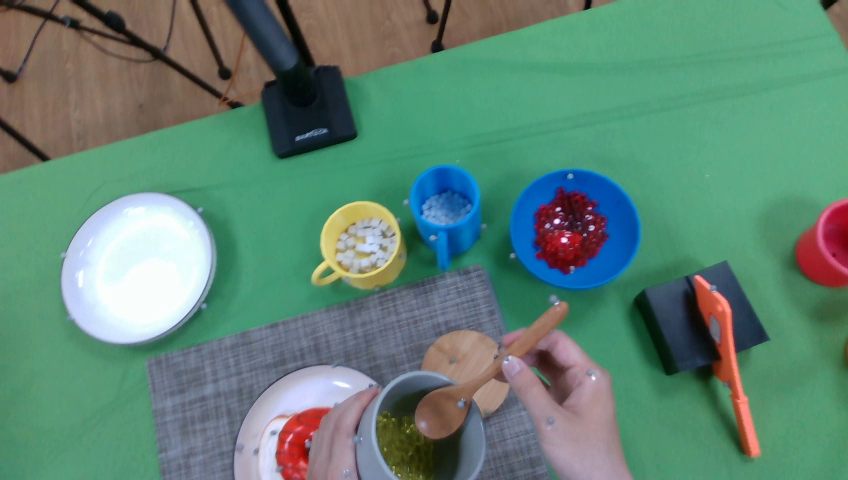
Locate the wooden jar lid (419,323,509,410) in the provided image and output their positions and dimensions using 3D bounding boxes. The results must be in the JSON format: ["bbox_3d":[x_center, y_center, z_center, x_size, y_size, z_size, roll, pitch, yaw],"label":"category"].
[{"bbox_3d":[0.048,0.155,0.731,0.108,0.021,0.108,-1,74,5],"label":"wooden jar lid"}]

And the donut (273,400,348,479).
[{"bbox_3d":[-0.121,0.231,0.685,0.099,0.048,0.098,-1,73,2],"label":"donut"}]

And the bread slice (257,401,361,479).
[{"bbox_3d":[-0.131,0.245,0.715,0.131,0.019,0.104,-2,73,1],"label":"bread slice"}]

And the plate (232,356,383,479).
[{"bbox_3d":[-0.118,0.242,0.711,0.209,0.038,0.208,-1,73,5],"label":"plate"}]

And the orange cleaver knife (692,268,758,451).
[{"bbox_3d":[0.336,0.134,0.682,0.012,0.077,0.212,-18,102,1],"label":"orange cleaver knife"}]

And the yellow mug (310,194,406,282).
[{"bbox_3d":[-0.089,0.008,0.768,0.131,0.064,0.099,-37,73,-4],"label":"yellow mug"}]

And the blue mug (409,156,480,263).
[{"bbox_3d":[0.027,-0.029,0.747,0.082,0.106,0.116,4,74,7],"label":"blue mug"}]

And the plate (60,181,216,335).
[{"bbox_3d":[-0.373,0.025,0.804,0.207,0.039,0.206,-1,74,5],"label":"plate"}]

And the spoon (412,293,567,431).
[{"bbox_3d":[0.051,0.104,0.497,0.041,0.194,0.021,43,36,2],"label":"spoon"}]

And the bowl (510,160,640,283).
[{"bbox_3d":[0.179,-0.013,0.742,0.151,0.077,0.150,-1,74,5],"label":"bowl"}]

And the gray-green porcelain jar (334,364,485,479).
[{"bbox_3d":[-0.020,0.184,0.551,0.106,0.127,0.105,13,55,-19],"label":"gray-green porcelain jar"}]
